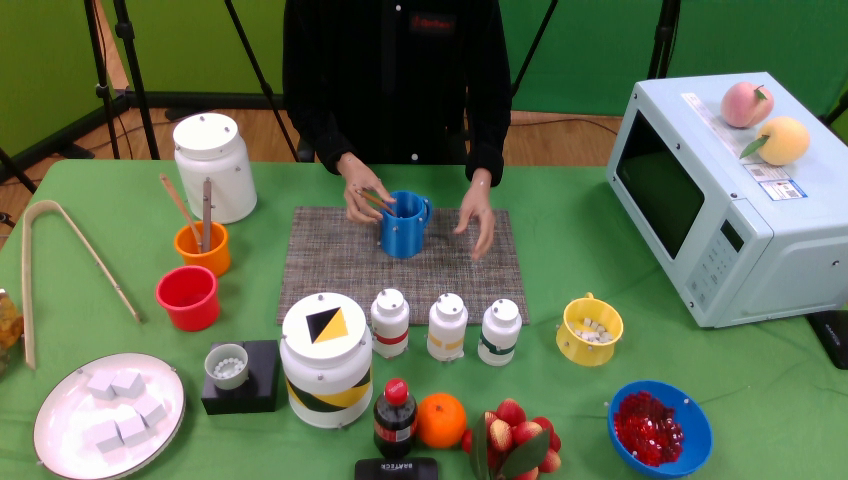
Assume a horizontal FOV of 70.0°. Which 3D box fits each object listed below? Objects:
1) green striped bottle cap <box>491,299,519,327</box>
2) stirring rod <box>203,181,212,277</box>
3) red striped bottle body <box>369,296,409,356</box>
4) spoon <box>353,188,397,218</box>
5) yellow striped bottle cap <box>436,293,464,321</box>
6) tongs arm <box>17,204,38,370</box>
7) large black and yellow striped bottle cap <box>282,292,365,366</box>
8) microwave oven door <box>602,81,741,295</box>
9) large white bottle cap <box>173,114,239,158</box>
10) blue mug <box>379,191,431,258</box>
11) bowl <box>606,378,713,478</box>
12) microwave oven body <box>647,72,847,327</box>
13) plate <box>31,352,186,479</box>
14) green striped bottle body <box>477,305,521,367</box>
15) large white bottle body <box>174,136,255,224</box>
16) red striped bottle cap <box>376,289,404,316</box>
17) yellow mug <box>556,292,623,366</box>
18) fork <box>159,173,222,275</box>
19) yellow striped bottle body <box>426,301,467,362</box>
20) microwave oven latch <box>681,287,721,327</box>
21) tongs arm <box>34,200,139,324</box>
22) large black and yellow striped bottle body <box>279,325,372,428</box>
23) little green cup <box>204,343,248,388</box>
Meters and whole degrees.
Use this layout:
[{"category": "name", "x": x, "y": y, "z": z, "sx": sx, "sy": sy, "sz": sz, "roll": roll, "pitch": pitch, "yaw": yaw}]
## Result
[{"category": "green striped bottle cap", "x": 0.128, "y": 0.115, "z": 0.958, "sx": 0.044, "sy": 0.020, "sz": 0.044, "roll": 1, "pitch": 46, "yaw": 0}, {"category": "stirring rod", "x": -0.396, "y": -0.021, "z": 1.108, "sx": 0.014, "sy": 0.006, "sz": 0.176, "roll": -1, "pitch": 89, "yaw": -1}, {"category": "red striped bottle body", "x": -0.058, "y": 0.134, "z": 0.997, "sx": 0.063, "sy": 0.120, "sz": 0.062, "roll": 4, "pitch": 47, "yaw": -4}, {"category": "spoon", "x": -0.068, "y": -0.053, "z": 1.121, "sx": 0.021, "sy": 0.195, "sz": 0.041, "roll": -43, "pitch": 50, "yaw": 7}, {"category": "yellow striped bottle cap", "x": 0.041, "y": 0.106, "z": 0.959, "sx": 0.044, "sy": 0.019, "sz": 0.044, "roll": 0, "pitch": 50, "yaw": 1}, {"category": "tongs arm", "x": -0.698, "y": 0.069, "z": 1.068, "sx": 0.028, "sy": 0.028, "sz": 0.385, "roll": -20, "pitch": 50, "yaw": -13}, {"category": "large black and yellow striped bottle cap", "x": -0.138, "y": 0.121, "z": 0.841, "sx": 0.115, "sy": 0.019, "sz": 0.114, "roll": 3, "pitch": 47, "yaw": -3}, {"category": "microwave oven door", "x": 0.456, "y": -0.107, "z": 1.162, "sx": 0.039, "sy": 0.245, "sz": 0.353, "roll": -7, "pitch": 47, "yaw": -11}, {"category": "large white bottle cap", "x": -0.403, "y": -0.195, "z": 1.122, "sx": 0.115, "sy": 0.018, "sz": 0.114, "roll": 2, "pitch": 47, "yaw": -2}, {"category": "blue mug", "x": -0.032, "y": -0.036, "z": 1.169, "sx": 0.116, "sy": 0.106, "sz": 0.082, "roll": -29, "pitch": 55, "yaw": -28}, {"category": "bowl", "x": 0.340, "y": 0.292, "z": 0.906, "sx": 0.151, "sy": 0.077, "sz": 0.150, "roll": 2, "pitch": 46, "yaw": -2}, {"category": "microwave oven body", "x": 0.607, "y": -0.089, "z": 1.164, "sx": 0.326, "sy": 0.261, "sz": 0.438, "roll": -7, "pitch": 46, "yaw": -10}, {"category": "plate", "x": -0.459, "y": 0.262, "z": 0.898, "sx": 0.209, "sy": 0.038, "sz": 0.208, "roll": 2, "pitch": 46, "yaw": -2}, {"category": "green striped bottle body", "x": 0.124, "y": 0.151, "z": 0.995, "sx": 0.063, "sy": 0.120, "sz": 0.063, "roll": 2, "pitch": 46, "yaw": -2}, {"category": "large white bottle body", "x": -0.408, "y": -0.137, "z": 1.183, "sx": 0.131, "sy": 0.185, "sz": 0.130, "roll": 2, "pitch": 46, "yaw": -2}, {"category": "red striped bottle cap", "x": -0.055, "y": 0.098, "z": 0.958, "sx": 0.044, "sy": 0.018, "sz": 0.044, "roll": 0, "pitch": 48, "yaw": 0}, {"category": "yellow mug", "x": 0.285, "y": 0.145, "z": 1.051, "sx": 0.100, "sy": 0.064, "sz": 0.130, "roll": 7, "pitch": 45, "yaw": 3}, {"category": "fork", "x": -0.427, "y": -0.029, "z": 1.103, "sx": 0.028, "sy": 0.018, "sz": 0.207, "roll": -31, "pitch": 99, "yaw": -30}, {"category": "yellow striped bottle body", "x": 0.037, "y": 0.142, "z": 0.996, "sx": 0.063, "sy": 0.121, "sz": 0.062, "roll": 2, "pitch": 46, "yaw": -2}, {"category": "microwave oven latch", "x": 0.494, "y": 0.119, "z": 1.087, "sx": 0.030, "sy": 0.029, "sz": 0.078, "roll": -6, "pitch": 46, "yaw": -9}, {"category": "tongs arm", "x": -0.622, "y": 0.034, "z": 1.105, "sx": 0.051, "sy": 0.026, "sz": 0.382, "roll": -32, "pitch": 55, "yaw": -26}, {"category": "large black and yellow striped bottle body", "x": -0.143, "y": 0.181, "z": 0.900, "sx": 0.131, "sy": 0.185, "sz": 0.130, "roll": 2, "pitch": 46, "yaw": -2}, {"category": "little green cup", "x": -0.294, "y": 0.190, "z": 0.909, "sx": 0.061, "sy": 0.039, "sz": 0.061, "roll": 1, "pitch": 48, "yaw": -1}]
